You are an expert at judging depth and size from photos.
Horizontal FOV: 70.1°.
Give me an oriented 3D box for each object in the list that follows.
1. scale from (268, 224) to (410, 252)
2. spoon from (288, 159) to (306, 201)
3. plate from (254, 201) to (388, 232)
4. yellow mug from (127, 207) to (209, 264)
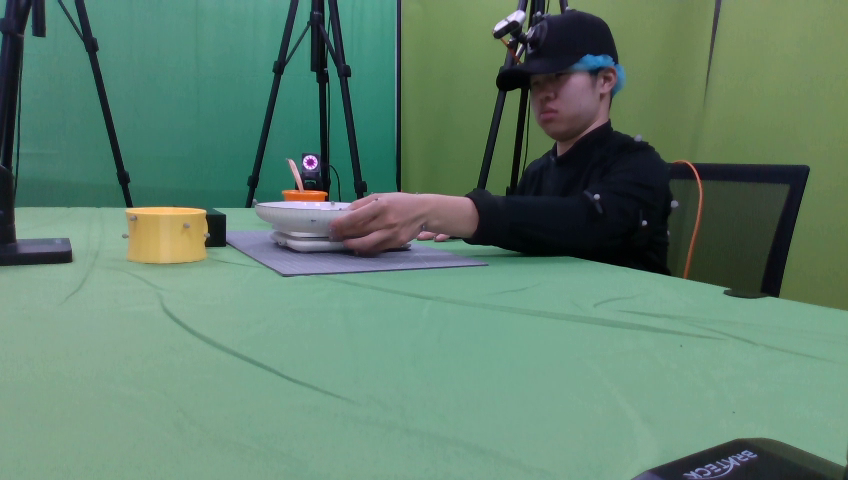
[{"bbox_3d":[-0.138,-0.006,0.980,0.202,0.031,0.148,-1,8,-30],"label":"scale"},{"bbox_3d":[-0.259,-0.103,1.268,0.042,0.193,0.021,3,-39,-33],"label":"spoon"},{"bbox_3d":[-0.161,-0.038,0.961,0.209,0.038,0.209,2,6,0],"label":"plate"},{"bbox_3d":[-0.339,-0.009,0.827,0.100,0.064,0.131,5,7,17],"label":"yellow mug"}]
